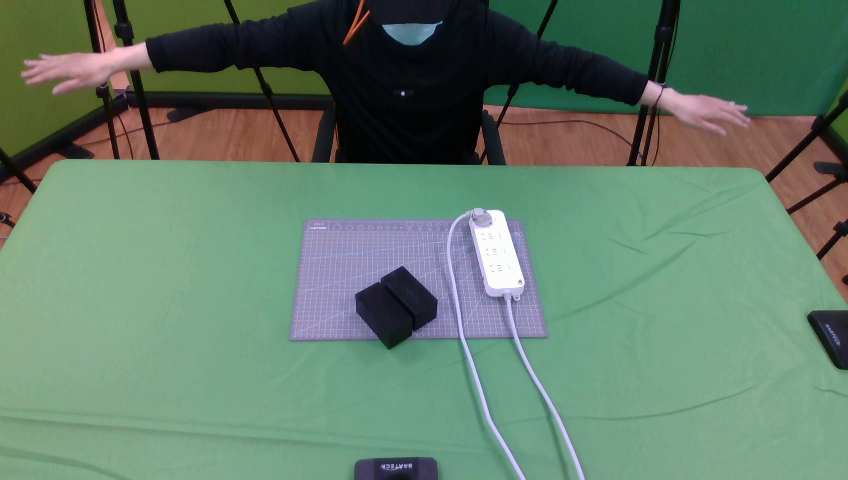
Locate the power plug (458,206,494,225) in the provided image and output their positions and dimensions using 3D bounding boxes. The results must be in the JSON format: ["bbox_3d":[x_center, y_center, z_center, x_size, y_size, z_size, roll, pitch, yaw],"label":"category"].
[{"bbox_3d":[0.104,-0.045,1.206,0.072,0.053,0.035,1,47,5],"label":"power plug"}]

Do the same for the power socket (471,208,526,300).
[{"bbox_3d":[0.141,0.019,1.172,0.072,0.033,0.225,-3,47,-6],"label":"power socket"}]
